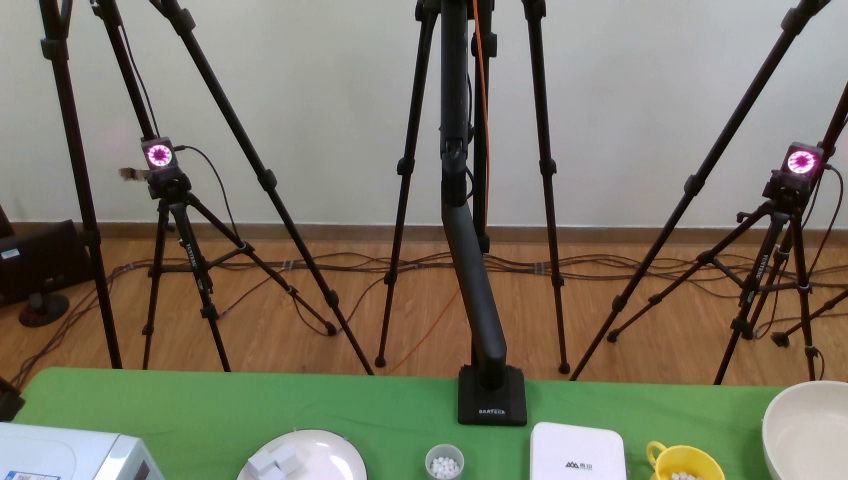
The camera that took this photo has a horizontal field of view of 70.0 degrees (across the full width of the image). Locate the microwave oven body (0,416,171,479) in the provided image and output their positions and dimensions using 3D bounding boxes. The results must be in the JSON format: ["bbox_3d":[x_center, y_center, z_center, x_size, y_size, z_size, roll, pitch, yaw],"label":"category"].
[{"bbox_3d":[-0.532,0.457,0.688,0.326,0.262,0.438,3,41,6],"label":"microwave oven body"}]

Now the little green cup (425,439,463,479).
[{"bbox_3d":[0.033,0.355,0.967,0.061,0.039,0.061,-1,39,2],"label":"little green cup"}]

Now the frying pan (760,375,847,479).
[{"bbox_3d":[0.704,0.389,0.843,0.307,0.103,0.482,-17,34,-15],"label":"frying pan"}]

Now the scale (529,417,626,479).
[{"bbox_3d":[0.238,0.372,0.943,0.148,0.032,0.199,4,40,8],"label":"scale"}]

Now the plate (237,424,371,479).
[{"bbox_3d":[-0.186,0.385,0.942,0.208,0.039,0.205,-1,39,1],"label":"plate"}]

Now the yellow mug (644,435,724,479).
[{"bbox_3d":[0.386,0.354,0.930,0.100,0.064,0.129,-20,42,-20],"label":"yellow mug"}]
